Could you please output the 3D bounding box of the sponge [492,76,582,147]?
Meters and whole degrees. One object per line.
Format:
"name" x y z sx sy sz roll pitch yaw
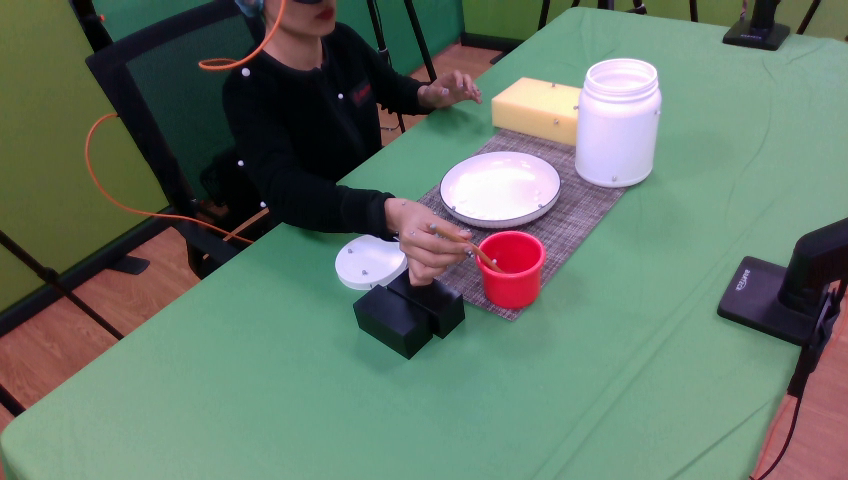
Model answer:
"sponge" 0.254 -0.259 1.207 0.205 0.061 0.118 22 47 31

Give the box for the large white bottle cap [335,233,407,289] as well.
"large white bottle cap" -0.085 0.032 0.961 0.115 0.018 0.114 -6 42 6

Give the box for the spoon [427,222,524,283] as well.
"spoon" 0.071 0.017 0.818 0.021 0.195 0.041 -57 37 -2

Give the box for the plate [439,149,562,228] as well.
"plate" 0.131 -0.085 1.040 0.209 0.038 0.208 -5 40 5

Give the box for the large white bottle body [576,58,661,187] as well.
"large white bottle body" 0.326 -0.197 1.021 0.130 0.185 0.130 -5 40 5
